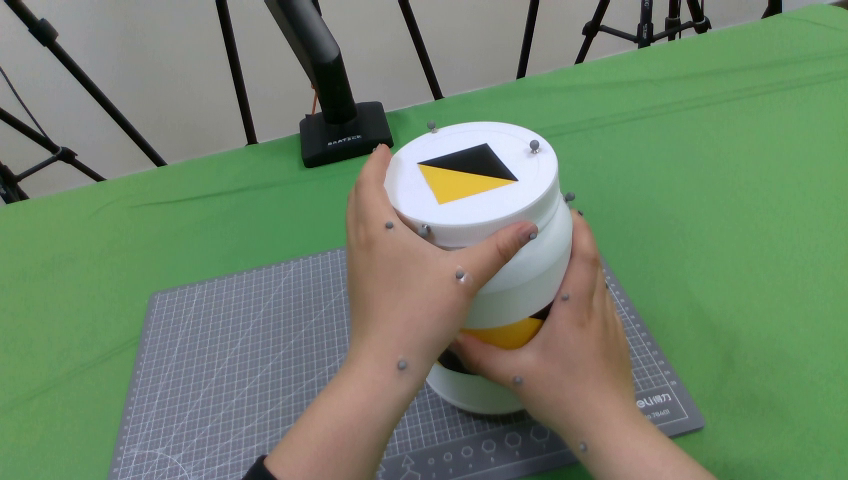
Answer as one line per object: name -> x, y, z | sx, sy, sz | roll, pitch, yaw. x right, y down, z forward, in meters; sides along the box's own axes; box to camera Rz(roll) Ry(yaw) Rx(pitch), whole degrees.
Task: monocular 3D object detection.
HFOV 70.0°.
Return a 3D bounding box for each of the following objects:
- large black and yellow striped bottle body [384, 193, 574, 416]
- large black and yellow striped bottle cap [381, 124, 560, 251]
large black and yellow striped bottle body -> 0.044, 0.027, 0.448 | 0.130, 0.186, 0.129 | -7, 40, 7
large black and yellow striped bottle cap -> 0.029, -0.038, 0.392 | 0.115, 0.019, 0.114 | -7, 41, 7
